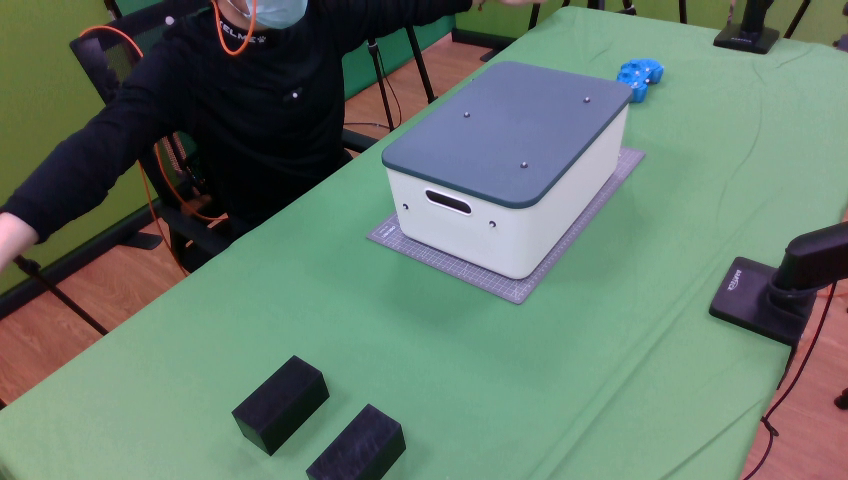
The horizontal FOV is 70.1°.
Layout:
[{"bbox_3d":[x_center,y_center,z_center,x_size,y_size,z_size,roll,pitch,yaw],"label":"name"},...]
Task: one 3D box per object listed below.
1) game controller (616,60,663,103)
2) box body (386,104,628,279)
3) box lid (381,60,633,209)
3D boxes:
[{"bbox_3d":[0.442,-0.345,1.288,0.096,0.052,0.155,25,50,27],"label":"game controller"},{"bbox_3d":[0.142,-0.125,0.982,0.252,0.161,0.365,22,48,29],"label":"box body"},{"bbox_3d":[0.137,-0.182,0.935,0.261,0.015,0.372,22,48,29],"label":"box lid"}]
